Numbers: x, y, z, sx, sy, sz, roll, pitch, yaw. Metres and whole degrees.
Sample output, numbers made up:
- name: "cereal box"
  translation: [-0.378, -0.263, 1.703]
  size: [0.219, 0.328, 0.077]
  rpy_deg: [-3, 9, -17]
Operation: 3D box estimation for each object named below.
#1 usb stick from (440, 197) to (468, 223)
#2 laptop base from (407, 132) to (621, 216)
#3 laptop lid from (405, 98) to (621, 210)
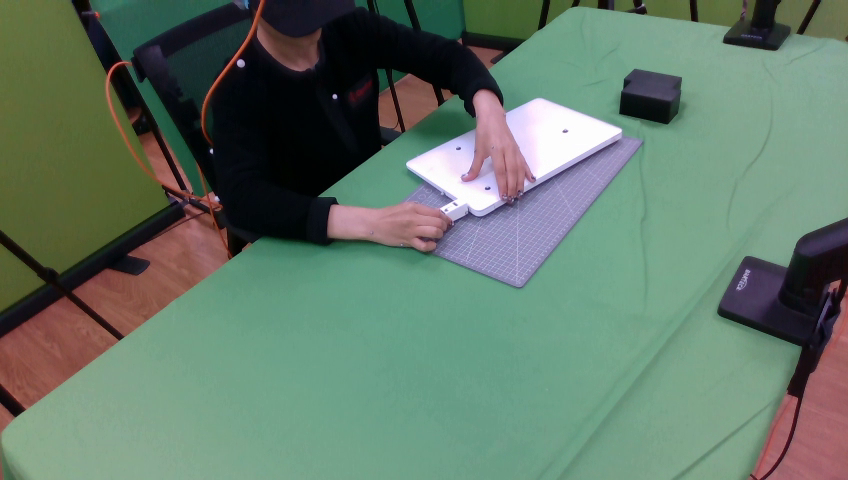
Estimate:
- name: "usb stick"
  translation: [0.056, -0.053, 1.018]
  size: [0.059, 0.027, 0.021]
  rpy_deg: [-24, 44, -22]
- name: "laptop base"
  translation: [0.170, -0.167, 1.152]
  size: [0.356, 0.023, 0.233]
  rpy_deg: [-29, 40, -22]
- name: "laptop lid"
  translation: [0.167, -0.177, 1.147]
  size: [0.358, 0.013, 0.239]
  rpy_deg: [-28, 40, -21]
